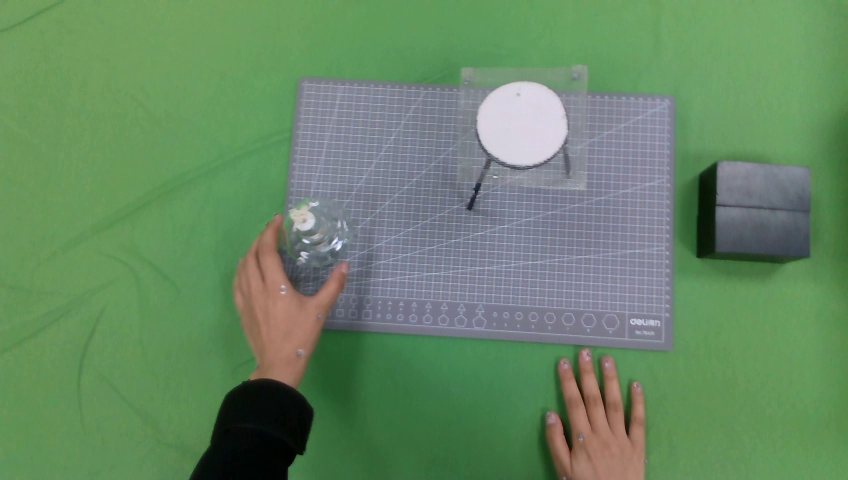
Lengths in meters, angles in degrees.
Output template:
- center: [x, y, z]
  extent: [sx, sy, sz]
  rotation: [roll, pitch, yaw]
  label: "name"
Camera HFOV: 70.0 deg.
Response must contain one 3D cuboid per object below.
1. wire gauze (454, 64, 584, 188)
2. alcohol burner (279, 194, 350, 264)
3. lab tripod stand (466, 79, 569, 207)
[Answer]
- center: [0.091, -0.111, 0.578]
  extent: [0.125, 0.011, 0.121]
  rotation: [3, 81, 3]
  label: "wire gauze"
- center: [-0.120, -0.014, 0.647]
  extent: [0.078, 0.119, 0.077]
  rotation: [0, 83, 2]
  label: "alcohol burner"
- center: [0.092, -0.106, 0.645]
  extent: [0.148, 0.132, 0.148]
  rotation: [-1, 80, 4]
  label: "lab tripod stand"
